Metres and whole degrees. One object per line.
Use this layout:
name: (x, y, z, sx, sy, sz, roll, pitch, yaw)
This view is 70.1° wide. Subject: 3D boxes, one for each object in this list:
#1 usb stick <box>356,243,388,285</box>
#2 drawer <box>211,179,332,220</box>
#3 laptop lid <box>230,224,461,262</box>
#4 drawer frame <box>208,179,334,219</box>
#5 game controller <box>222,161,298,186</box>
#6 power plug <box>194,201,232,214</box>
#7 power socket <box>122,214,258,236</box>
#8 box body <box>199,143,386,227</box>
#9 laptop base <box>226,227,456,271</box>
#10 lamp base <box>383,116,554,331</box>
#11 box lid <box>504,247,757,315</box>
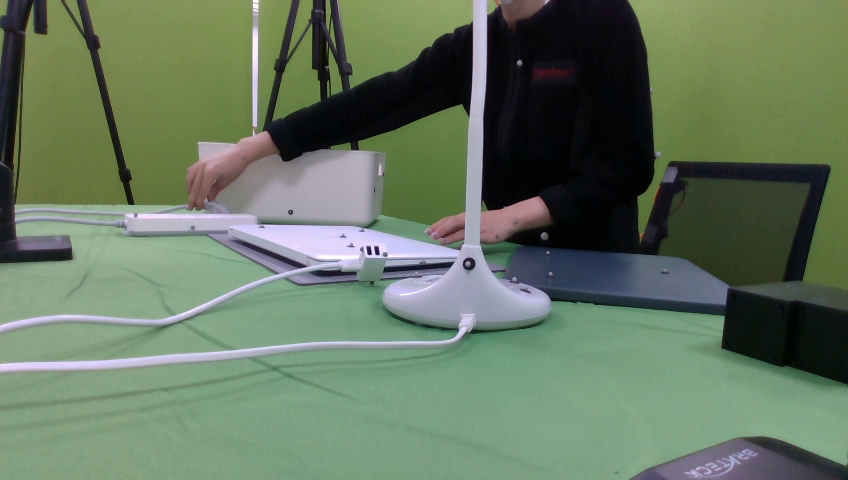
usb stick: (-0.058, 0.029, 0.658, 0.027, 0.059, 0.021, -4, 53, -18)
drawer: (-0.327, -0.095, 1.333, 0.212, 0.073, 0.194, 5, 9, 6)
laptop lid: (-0.119, 0.000, 0.889, 0.243, 0.013, 0.355, 1, 7, -33)
drawer frame: (-0.326, -0.093, 1.328, 0.213, 0.082, 0.202, -1, 5, 6)
game controller: (-0.357, -0.144, 1.321, 0.156, 0.051, 0.097, 1, 1, -16)
power plug: (-0.393, -0.048, 1.138, 0.072, 0.052, 0.035, 4, 19, 36)
power socket: (-0.398, -0.028, 1.049, 0.228, 0.032, 0.072, -3, 8, -34)
box body: (-0.276, -0.124, 1.335, 0.364, 0.160, 0.254, 3, 7, 1)
laptop base: (-0.122, 0.011, 0.889, 0.237, 0.023, 0.352, 2, 6, -35)
lamp base: (0.045, -0.019, 0.547, 0.161, 0.180, 0.179, 2, 10, -4)
box lid: (0.244, 0.044, 0.793, 0.263, 0.015, 0.372, 4, 7, 10)
